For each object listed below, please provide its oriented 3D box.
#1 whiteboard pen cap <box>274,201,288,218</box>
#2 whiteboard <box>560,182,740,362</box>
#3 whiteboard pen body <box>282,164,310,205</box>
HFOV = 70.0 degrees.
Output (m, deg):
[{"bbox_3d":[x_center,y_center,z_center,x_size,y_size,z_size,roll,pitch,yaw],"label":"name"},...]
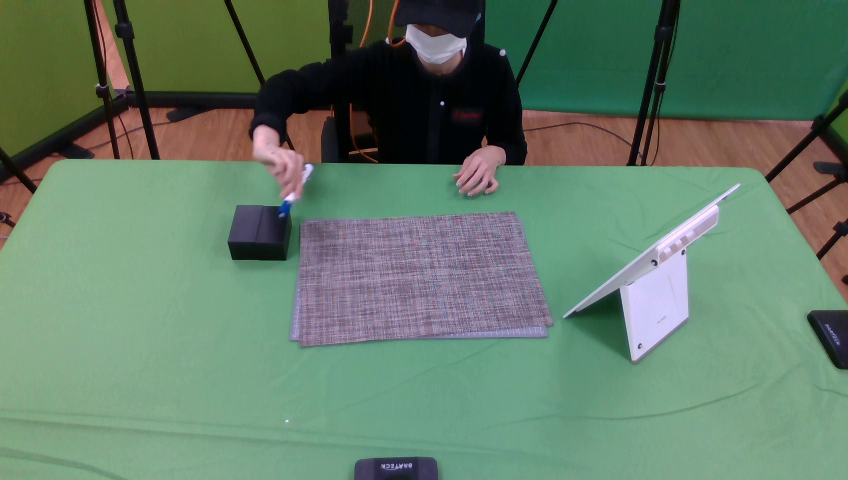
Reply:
[{"bbox_3d":[-0.258,-0.057,1.104,0.018,0.018,0.033,12,44,7],"label":"whiteboard pen cap"},{"bbox_3d":[0.406,0.075,1.001,0.217,0.306,0.143,-28,73,-28],"label":"whiteboard"},{"bbox_3d":[-0.245,-0.099,1.146,0.017,0.017,0.140,12,45,7],"label":"whiteboard pen body"}]
